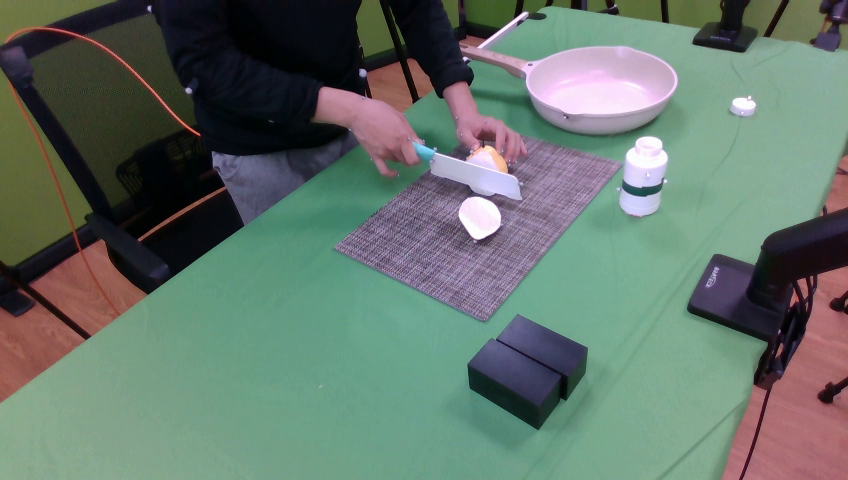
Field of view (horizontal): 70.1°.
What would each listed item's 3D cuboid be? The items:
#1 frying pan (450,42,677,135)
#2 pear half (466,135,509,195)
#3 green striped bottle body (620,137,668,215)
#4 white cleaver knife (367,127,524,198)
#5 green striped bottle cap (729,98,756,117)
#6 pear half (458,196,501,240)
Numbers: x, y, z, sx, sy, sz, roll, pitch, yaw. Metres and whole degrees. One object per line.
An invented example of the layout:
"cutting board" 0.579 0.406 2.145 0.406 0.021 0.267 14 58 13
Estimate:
"frying pan" 0.268 -0.344 1.266 0.485 0.103 0.307 25 49 21
"pear half" 0.111 -0.137 1.039 0.076 0.110 0.056 15 45 19
"green striped bottle body" 0.350 -0.103 0.963 0.063 0.120 0.063 -4 41 4
"white cleaver knife" 0.028 -0.123 0.979 0.285 0.066 0.021 22 63 22
"green striped bottle cap" 0.623 -0.259 1.182 0.044 0.020 0.044 -3 40 3
"pear half" 0.087 -0.030 0.975 0.070 0.031 0.088 14 57 -1
